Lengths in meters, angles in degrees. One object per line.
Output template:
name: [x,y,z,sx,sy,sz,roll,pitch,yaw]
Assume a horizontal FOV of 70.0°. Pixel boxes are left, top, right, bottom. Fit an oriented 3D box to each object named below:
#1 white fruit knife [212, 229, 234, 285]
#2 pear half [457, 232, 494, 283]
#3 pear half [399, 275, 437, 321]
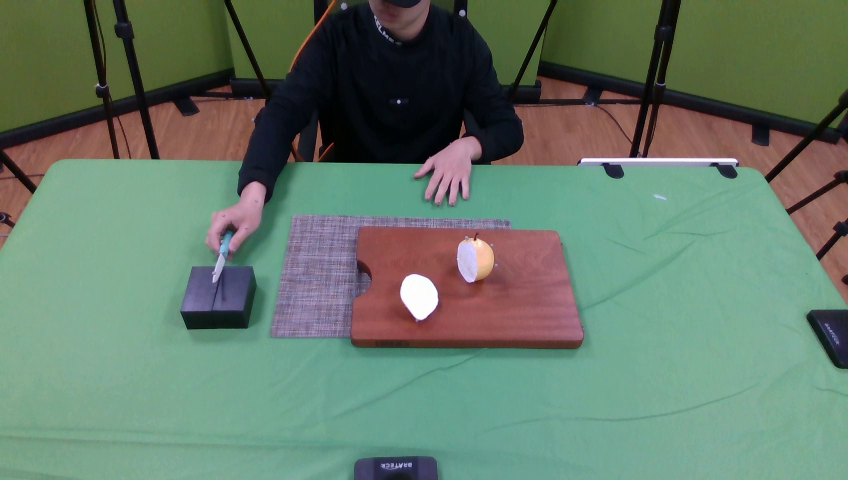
white fruit knife: [-0.362,0.028,1.092,0.016,0.027,0.206,-10,26,-5]
pear half: [0.098,0.023,1.087,0.056,0.110,0.076,-22,55,-24]
pear half: [-0.013,0.104,1.051,0.070,0.031,0.087,11,58,-15]
